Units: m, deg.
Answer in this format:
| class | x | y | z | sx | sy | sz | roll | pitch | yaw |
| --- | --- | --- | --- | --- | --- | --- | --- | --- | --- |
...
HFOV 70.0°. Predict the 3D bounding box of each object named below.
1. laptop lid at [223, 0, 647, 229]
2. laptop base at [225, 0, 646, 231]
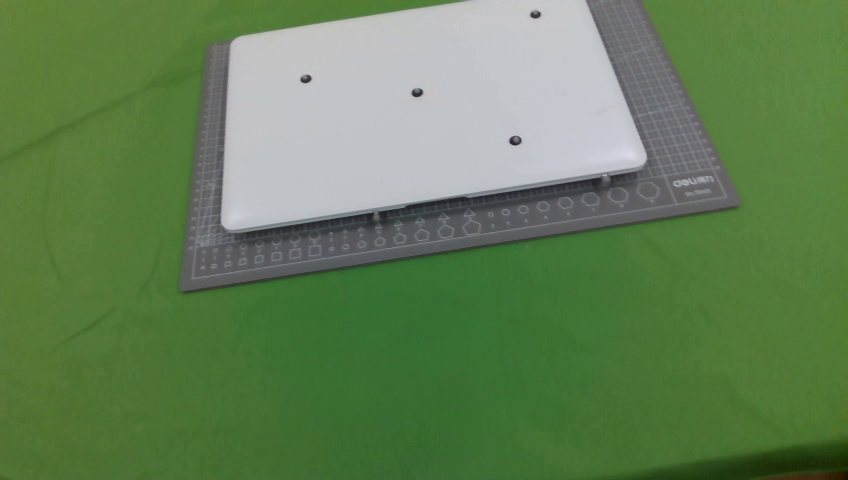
| class | x | y | z | sx | sy | sz | roll | pitch | yaw |
| --- | --- | --- | --- | --- | --- | --- | --- | --- | --- |
| laptop lid | -0.004 | -0.133 | 0.547 | 0.357 | 0.013 | 0.239 | -7 | 60 | 1 |
| laptop base | -0.003 | -0.128 | 0.558 | 0.354 | 0.023 | 0.233 | -9 | 61 | 0 |
